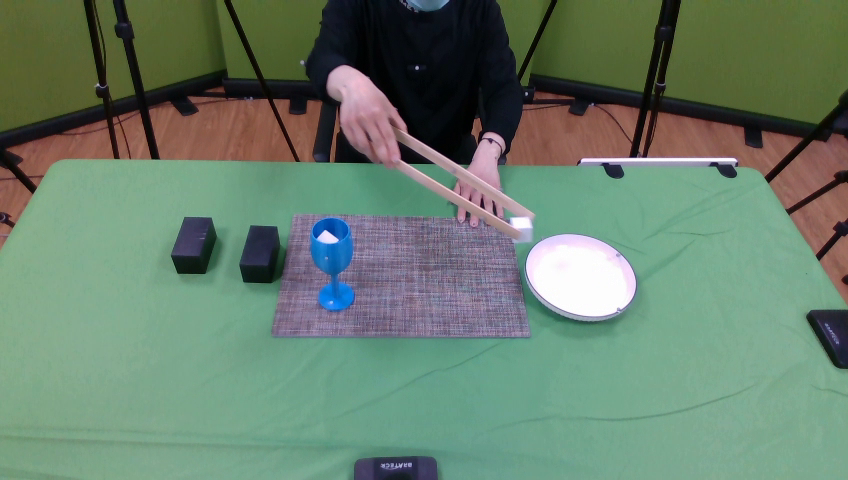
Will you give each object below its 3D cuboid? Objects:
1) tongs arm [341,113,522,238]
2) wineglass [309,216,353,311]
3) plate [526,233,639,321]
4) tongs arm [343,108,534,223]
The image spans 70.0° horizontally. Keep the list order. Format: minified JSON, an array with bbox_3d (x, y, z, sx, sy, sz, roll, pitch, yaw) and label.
[{"bbox_3d":[0.001,-0.112,1.034,0.386,0.028,0.028,33,58,15],"label":"tongs arm"},{"bbox_3d":[-0.155,0.043,1.032,0.074,0.173,0.073,2,46,-2],"label":"wineglass"},{"bbox_3d":[0.292,0.071,1.135,0.209,0.038,0.208,2,46,-2],"label":"plate"},{"bbox_3d":[0.017,-0.129,1.050,0.383,0.026,0.050,35,56,17],"label":"tongs arm"}]
